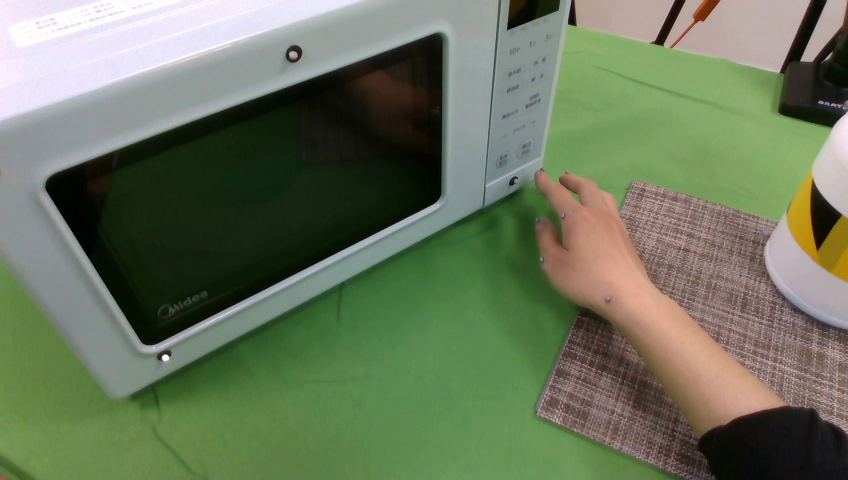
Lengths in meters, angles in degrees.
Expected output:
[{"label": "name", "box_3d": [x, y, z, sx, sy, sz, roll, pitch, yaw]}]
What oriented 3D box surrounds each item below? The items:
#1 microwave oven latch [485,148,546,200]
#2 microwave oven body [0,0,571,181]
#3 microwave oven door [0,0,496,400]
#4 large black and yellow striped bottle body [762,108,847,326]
[{"label": "microwave oven latch", "box_3d": [0.084, -0.070, 0.601, 0.079, 0.030, 0.030, -27, 53, -22]}, {"label": "microwave oven body", "box_3d": [-0.148, -0.145, 0.541, 0.442, 0.262, 0.322, -29, 54, -23]}, {"label": "microwave oven door", "box_3d": [-0.097, -0.045, 0.440, 0.356, 0.246, 0.039, -28, 53, -23]}, {"label": "large black and yellow striped bottle body", "box_3d": [0.371, -0.031, 0.480, 0.131, 0.185, 0.129, 0, 47, 1]}]
